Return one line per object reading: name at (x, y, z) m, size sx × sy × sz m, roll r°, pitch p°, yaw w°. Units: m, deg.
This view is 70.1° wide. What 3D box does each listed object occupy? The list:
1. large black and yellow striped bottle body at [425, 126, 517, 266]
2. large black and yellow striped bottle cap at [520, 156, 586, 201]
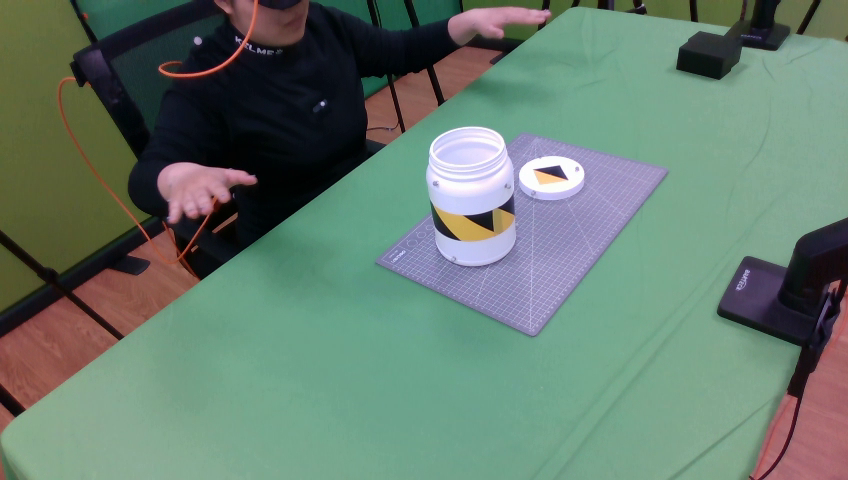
large black and yellow striped bottle body at (0.072, -0.066, 0.917) m, size 0.131 × 0.185 × 0.130 m, roll -5°, pitch 40°, yaw 5°
large black and yellow striped bottle cap at (0.228, -0.111, 1.072) m, size 0.115 × 0.019 × 0.114 m, roll -6°, pitch 40°, yaw 6°
